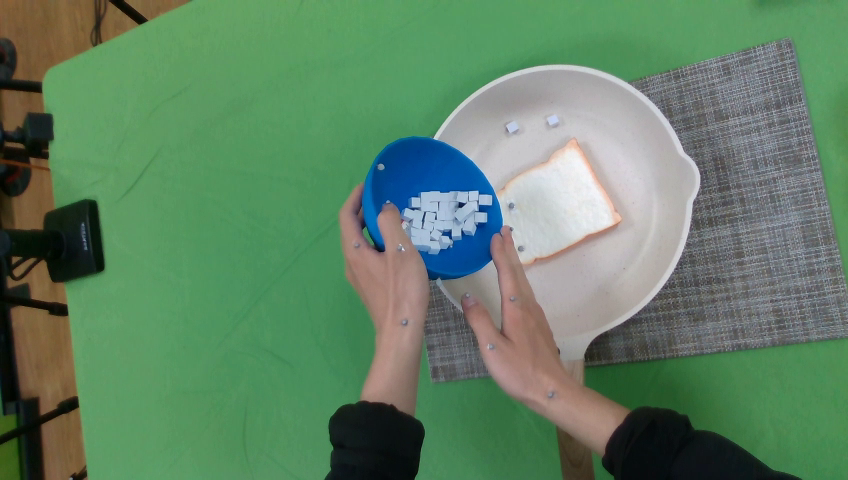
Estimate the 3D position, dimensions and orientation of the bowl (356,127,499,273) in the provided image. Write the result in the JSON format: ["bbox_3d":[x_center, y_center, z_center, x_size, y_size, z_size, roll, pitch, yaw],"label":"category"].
[{"bbox_3d":[-0.008,-0.028,0.606,0.077,0.152,0.150,-38,73,50],"label":"bowl"}]

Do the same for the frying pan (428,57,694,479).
[{"bbox_3d":[0.134,0.055,0.641,0.306,0.103,0.485,-8,77,23],"label":"frying pan"}]

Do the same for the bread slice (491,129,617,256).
[{"bbox_3d":[0.135,-0.043,0.686,0.134,0.018,0.106,-33,77,15],"label":"bread slice"}]
